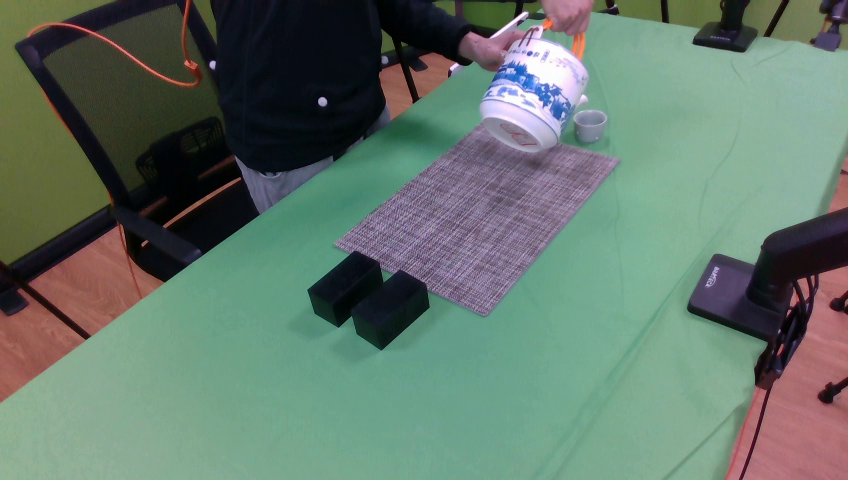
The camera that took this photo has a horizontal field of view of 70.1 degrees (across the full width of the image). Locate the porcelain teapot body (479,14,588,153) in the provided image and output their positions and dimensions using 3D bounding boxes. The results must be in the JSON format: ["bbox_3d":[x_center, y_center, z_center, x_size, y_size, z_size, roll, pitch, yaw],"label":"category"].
[{"bbox_3d":[0.214,-0.259,1.035,0.144,0.207,0.225,21,80,44],"label":"porcelain teapot body"}]

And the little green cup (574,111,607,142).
[{"bbox_3d":[0.318,-0.218,1.164,0.061,0.039,0.061,-3,40,3],"label":"little green cup"}]

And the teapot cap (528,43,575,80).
[{"bbox_3d":[0.216,-0.305,1.016,0.084,0.086,0.044,24,79,32],"label":"teapot cap"}]
